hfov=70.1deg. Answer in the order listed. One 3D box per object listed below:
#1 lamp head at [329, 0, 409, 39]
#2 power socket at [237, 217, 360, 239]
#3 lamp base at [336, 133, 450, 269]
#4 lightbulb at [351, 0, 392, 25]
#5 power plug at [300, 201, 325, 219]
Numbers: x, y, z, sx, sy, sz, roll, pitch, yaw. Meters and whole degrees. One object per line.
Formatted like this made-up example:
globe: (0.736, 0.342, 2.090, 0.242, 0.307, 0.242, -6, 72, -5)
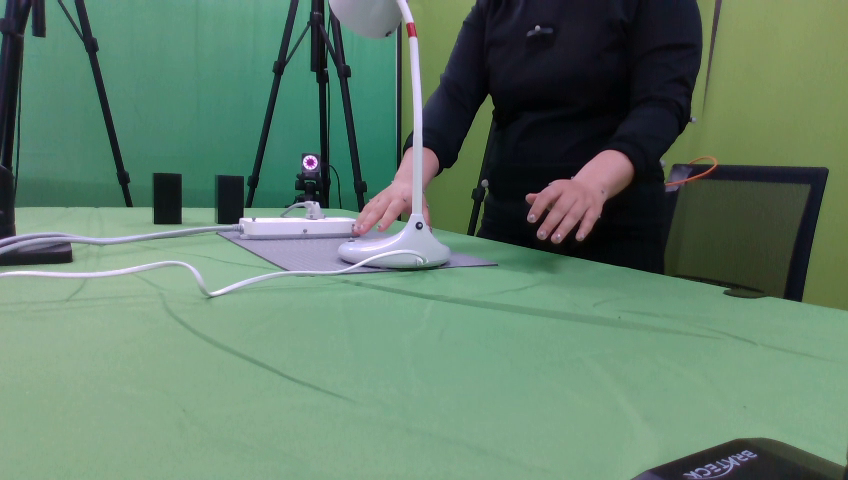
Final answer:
lamp head: (-0.062, -0.357, 0.842, 0.113, 0.112, 0.122, -1, -14, -29)
power socket: (-0.220, -0.023, 1.080, 0.228, 0.032, 0.072, -2, 8, -33)
lamp base: (-0.032, -0.057, 0.830, 0.161, 0.180, 0.178, -2, 11, -34)
lightbulb: (-0.070, -0.355, 0.866, 0.060, 0.059, 0.107, 0, -21, -20)
power plug: (-0.207, -0.046, 1.120, 0.035, 0.052, 0.072, 1, 4, -21)
